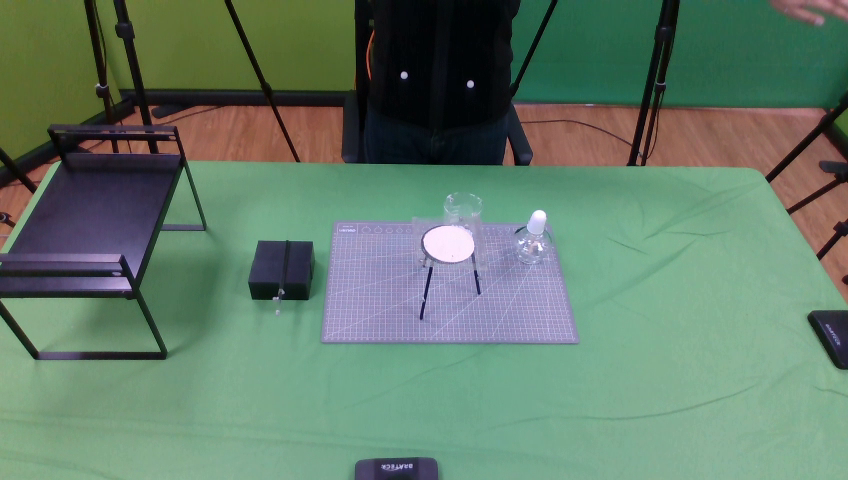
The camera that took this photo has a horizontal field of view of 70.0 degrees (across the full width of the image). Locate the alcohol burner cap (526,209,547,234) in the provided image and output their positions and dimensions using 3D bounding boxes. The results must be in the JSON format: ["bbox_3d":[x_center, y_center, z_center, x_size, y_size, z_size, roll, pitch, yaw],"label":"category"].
[{"bbox_3d":[0.212,-0.037,1.133,0.034,0.048,0.033,4,51,-5],"label":"alcohol burner cap"}]

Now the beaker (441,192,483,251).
[{"bbox_3d":[0.072,-0.034,1.179,0.084,0.101,0.073,-20,51,-22],"label":"beaker"}]

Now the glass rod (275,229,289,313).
[{"bbox_3d":[-0.251,0.050,1.075,0.008,0.008,0.198,0,45,-5],"label":"glass rod"}]

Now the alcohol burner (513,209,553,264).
[{"bbox_3d":[0.210,-0.012,1.158,0.078,0.120,0.077,1,45,-1],"label":"alcohol burner"}]

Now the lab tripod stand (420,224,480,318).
[{"bbox_3d":[0.034,0.052,1.070,0.148,0.132,0.147,3,48,-3],"label":"lab tripod stand"}]

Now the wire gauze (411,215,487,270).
[{"bbox_3d":[0.041,0.002,1.025,0.125,0.011,0.120,1,46,-3],"label":"wire gauze"}]
